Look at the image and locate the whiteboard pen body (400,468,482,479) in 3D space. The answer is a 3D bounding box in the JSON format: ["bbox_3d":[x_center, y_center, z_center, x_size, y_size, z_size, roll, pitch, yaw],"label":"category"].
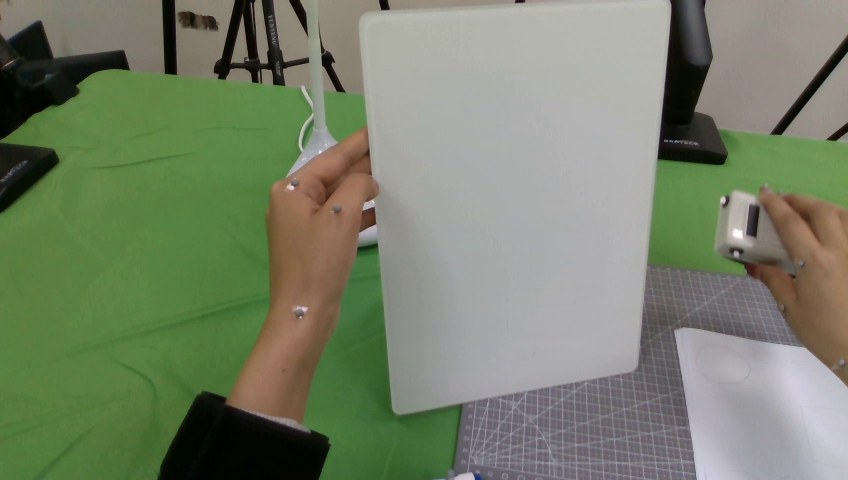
[{"bbox_3d":[-0.027,0.178,0.425,0.141,0.017,0.017,-5,41,-11],"label":"whiteboard pen body"}]

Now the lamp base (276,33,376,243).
[{"bbox_3d":[-0.092,-0.115,0.646,0.161,0.182,0.177,-27,46,-30],"label":"lamp base"}]

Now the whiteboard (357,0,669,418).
[{"bbox_3d":[0.058,-0.037,0.509,0.218,0.307,0.142,-7,22,-10],"label":"whiteboard"}]

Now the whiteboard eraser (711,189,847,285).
[{"bbox_3d":[0.307,-0.001,0.521,0.112,0.042,0.055,16,73,4],"label":"whiteboard eraser"}]
